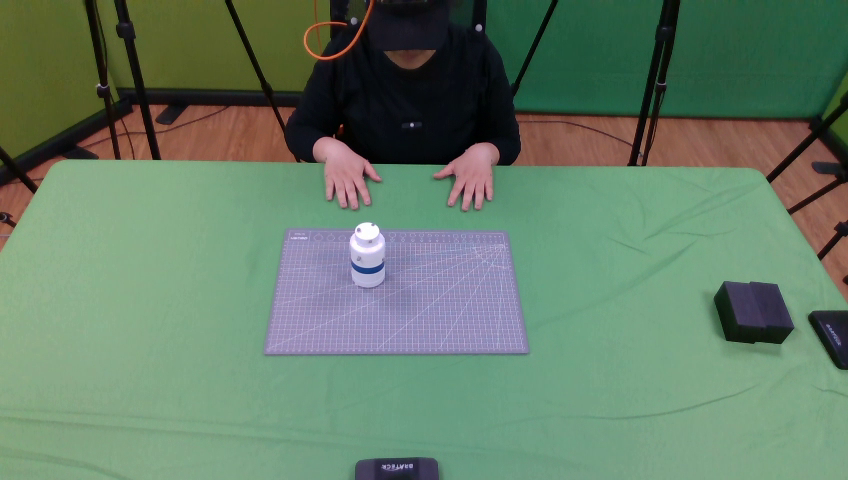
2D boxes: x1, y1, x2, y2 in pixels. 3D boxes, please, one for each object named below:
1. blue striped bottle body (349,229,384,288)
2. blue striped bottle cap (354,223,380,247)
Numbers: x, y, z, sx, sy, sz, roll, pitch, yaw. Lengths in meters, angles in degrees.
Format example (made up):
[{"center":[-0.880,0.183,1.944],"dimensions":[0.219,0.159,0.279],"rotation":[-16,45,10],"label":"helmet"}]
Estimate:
[{"center":[-0.103,0.026,1.093],"dimensions":[0.063,0.121,0.062],"rotation":[2,46,-2],"label":"blue striped bottle body"},{"center":[-0.100,-0.009,1.057],"dimensions":[0.044,0.021,0.044],"rotation":[1,46,-1],"label":"blue striped bottle cap"}]
